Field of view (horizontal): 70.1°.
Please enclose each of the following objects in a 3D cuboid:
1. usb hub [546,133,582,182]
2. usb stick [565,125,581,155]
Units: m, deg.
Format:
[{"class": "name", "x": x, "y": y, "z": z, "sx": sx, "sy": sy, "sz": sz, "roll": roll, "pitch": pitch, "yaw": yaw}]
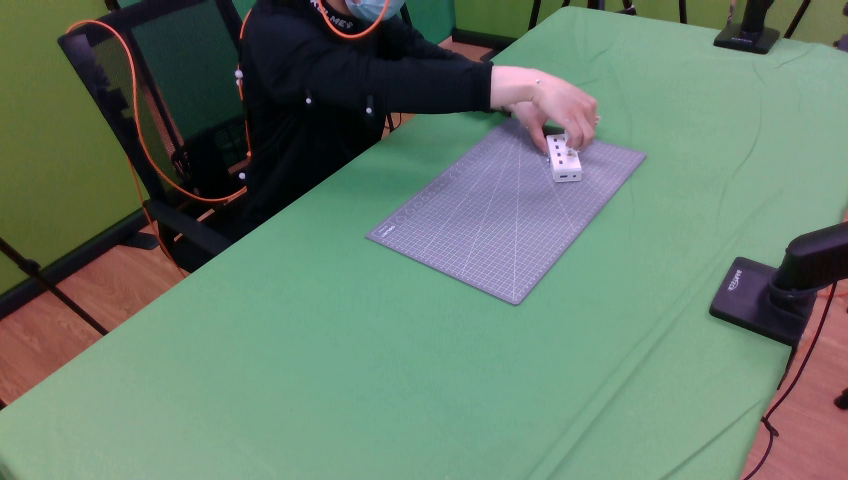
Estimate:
[{"class": "usb hub", "x": 0.255, "y": -0.152, "z": 1.103, "sx": 0.049, "sy": 0.025, "sz": 0.124, "roll": -3, "pitch": 41, "yaw": 5}, {"class": "usb stick", "x": 0.264, "y": -0.173, "z": 1.072, "sx": 0.027, "sy": 0.059, "sz": 0.021, "roll": -7, "pitch": 44, "yaw": 3}]
